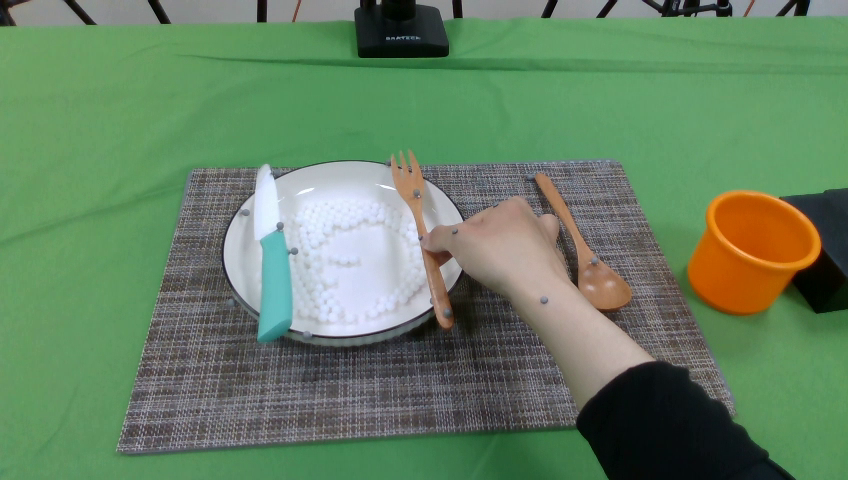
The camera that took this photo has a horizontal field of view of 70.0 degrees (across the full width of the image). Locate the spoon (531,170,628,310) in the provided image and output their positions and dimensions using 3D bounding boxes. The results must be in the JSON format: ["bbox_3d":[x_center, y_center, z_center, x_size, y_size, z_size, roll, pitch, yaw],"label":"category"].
[{"bbox_3d":[0.137,-0.008,0.566,0.041,0.022,0.191,-19,49,3],"label":"spoon"}]

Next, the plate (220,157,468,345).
[{"bbox_3d":[-0.066,0.007,0.527,0.209,0.038,0.207,2,47,-2],"label":"plate"}]

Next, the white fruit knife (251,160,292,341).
[{"bbox_3d":[-0.129,-0.003,0.502,0.027,0.016,0.205,-10,47,-9],"label":"white fruit knife"}]

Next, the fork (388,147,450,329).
[{"bbox_3d":[-0.005,-0.011,0.518,0.028,0.019,0.205,-8,47,-7],"label":"fork"}]
